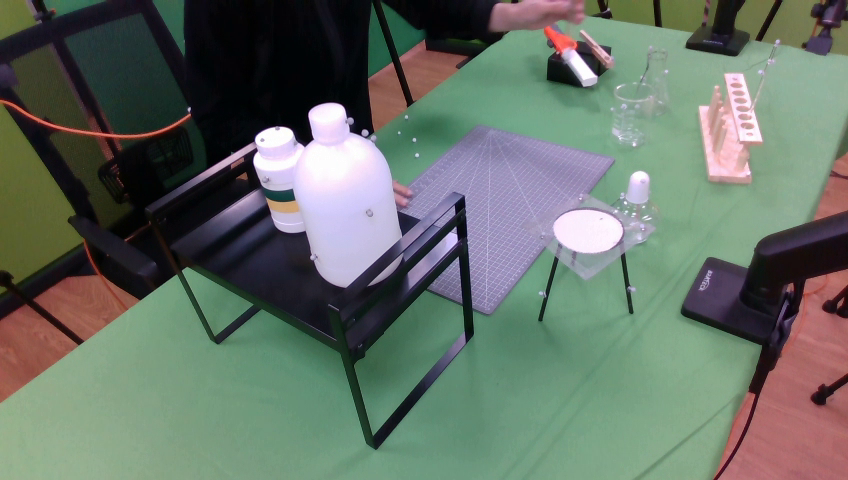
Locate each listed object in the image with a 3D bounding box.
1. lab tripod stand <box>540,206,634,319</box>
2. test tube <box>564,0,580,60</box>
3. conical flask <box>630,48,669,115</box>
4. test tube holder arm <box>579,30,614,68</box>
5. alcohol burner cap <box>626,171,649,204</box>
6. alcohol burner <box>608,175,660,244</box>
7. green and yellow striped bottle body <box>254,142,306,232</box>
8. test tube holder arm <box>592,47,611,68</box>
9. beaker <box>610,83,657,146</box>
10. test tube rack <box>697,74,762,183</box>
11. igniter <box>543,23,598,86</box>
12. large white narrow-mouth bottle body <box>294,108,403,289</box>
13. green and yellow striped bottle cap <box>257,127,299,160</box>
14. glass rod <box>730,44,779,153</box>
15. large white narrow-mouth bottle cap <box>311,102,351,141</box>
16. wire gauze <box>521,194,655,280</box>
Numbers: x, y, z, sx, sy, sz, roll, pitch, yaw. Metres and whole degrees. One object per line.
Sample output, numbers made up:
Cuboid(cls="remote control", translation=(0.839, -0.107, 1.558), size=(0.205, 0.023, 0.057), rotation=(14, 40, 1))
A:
Cuboid(cls="lab tripod stand", translation=(0.217, 0.034, 0.821), size=(0.148, 0.132, 0.147), rotation=(-4, 42, 4))
Cuboid(cls="test tube", translation=(0.255, -0.380, 1.033), size=(0.017, 0.151, 0.017), rotation=(-2, 40, 2))
Cuboid(cls="conical flask", translation=(0.456, -0.317, 1.205), size=(0.075, 0.122, 0.075), rotation=(-4, 41, 4))
Cuboid(cls="test tube holder arm", translation=(0.384, -0.428, 1.351), size=(0.013, 0.015, 0.177), rotation=(-9, 41, -4))
Cuboid(cls="alcohol burner cap", translation=(0.320, -0.081, 0.900), size=(0.034, 0.048, 0.033), rotation=(-4, 42, 4))
Cuboid(cls="alcohol burner", translation=(0.322, -0.053, 0.924), size=(0.078, 0.119, 0.077), rotation=(-4, 43, 4))
Cuboid(cls="green and yellow striped bottle body", translation=(-0.165, -0.073, 0.732), size=(0.063, 0.120, 0.063), rotation=(-4, 41, 4))
Cuboid(cls="test tube holder arm", translation=(0.386, -0.398, 1.317), size=(0.010, 0.015, 0.087), rotation=(-9, 41, -3))
Cuboid(cls="beaker", translation=(0.388, -0.235, 1.138), size=(0.074, 0.101, 0.083), rotation=(-31, 45, -25))
Cuboid(cls="test tube rack", translation=(0.547, -0.208, 1.095), size=(0.066, 0.085, 0.242), rotation=(5, 42, 15))
Cuboid(cls="igniter", translation=(0.320, -0.419, 1.345), size=(0.057, 0.025, 0.274), rotation=(-12, 44, -3))
Cuboid(cls="large white narrow-mouth bottle body", translation=(-0.082, -0.047, 0.634), size=(0.102, 0.195, 0.101), rotation=(-4, 39, 4))
Cuboid(cls="green and yellow striped bottle cap", translation=(-0.169, -0.112, 0.698), size=(0.045, 0.020, 0.045), rotation=(-5, 40, 5))
Cuboid(cls="glass rod", translation=(0.555, -0.234, 1.020), size=(0.008, 0.200, 0.008), rotation=(2, 40, -1))
Cuboid(cls="large white narrow-mouth bottle cap", translation=(-0.089, -0.114, 0.579), size=(0.038, 0.024, 0.037), rotation=(-4, 39, 3))
Cuboid(cls="wire gauze", translation=(0.207, -0.012, 0.772), size=(0.122, 0.011, 0.124), rotation=(-28, 44, -20))
